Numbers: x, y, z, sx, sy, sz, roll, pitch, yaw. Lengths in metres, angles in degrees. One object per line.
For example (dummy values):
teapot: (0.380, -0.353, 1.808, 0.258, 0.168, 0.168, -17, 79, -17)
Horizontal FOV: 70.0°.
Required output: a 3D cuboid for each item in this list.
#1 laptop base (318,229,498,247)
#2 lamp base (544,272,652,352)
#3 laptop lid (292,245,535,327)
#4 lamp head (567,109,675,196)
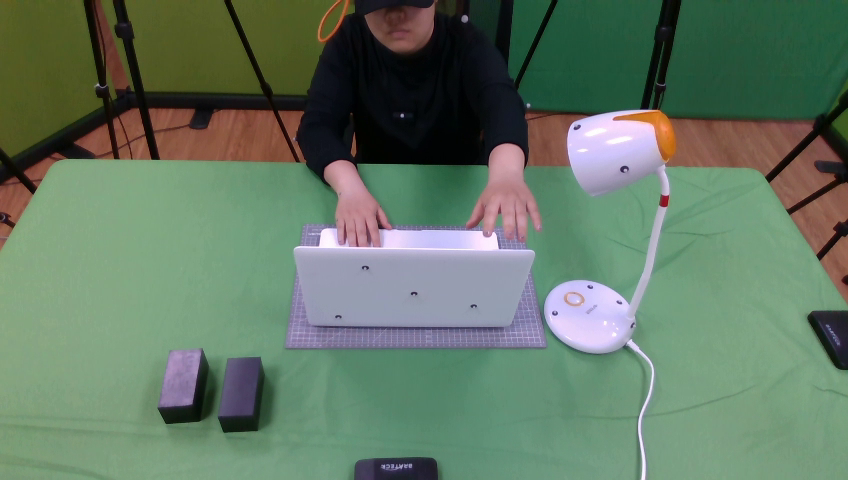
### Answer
laptop base: (-0.028, 0.066, 1.135, 0.355, 0.023, 0.234, 1, 42, -4)
lamp base: (0.310, 0.086, 1.029, 0.178, 0.181, 0.160, 32, 52, 21)
laptop lid: (-0.018, 0.080, 0.956, 0.357, 0.243, 0.013, 2, 53, -5)
lamp head: (0.272, -0.123, 0.818, 0.122, 0.113, 0.112, -9, 35, 37)
